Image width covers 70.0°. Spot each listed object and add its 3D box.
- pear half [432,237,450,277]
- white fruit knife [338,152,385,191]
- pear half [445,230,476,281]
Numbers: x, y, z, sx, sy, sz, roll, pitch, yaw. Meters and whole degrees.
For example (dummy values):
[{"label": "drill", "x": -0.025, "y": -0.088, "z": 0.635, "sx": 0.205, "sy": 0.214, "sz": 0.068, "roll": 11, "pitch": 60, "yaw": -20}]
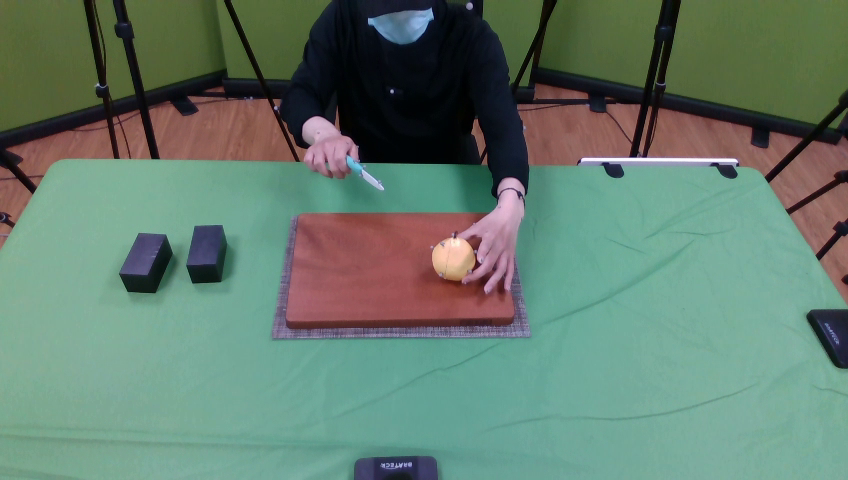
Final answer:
[{"label": "pear half", "x": 0.030, "y": 0.028, "z": 1.083, "sx": 0.031, "sy": 0.088, "sz": 0.070, "roll": 0, "pitch": 53, "yaw": 1}, {"label": "white fruit knife", "x": -0.114, "y": -0.125, "z": 1.100, "sx": 0.016, "sy": 0.027, "sz": 0.206, "roll": -29, "pitch": 34, "yaw": -16}, {"label": "pear half", "x": 0.066, "y": 0.022, "z": 1.075, "sx": 0.056, "sy": 0.110, "sz": 0.076, "roll": 1, "pitch": 49, "yaw": 0}]
